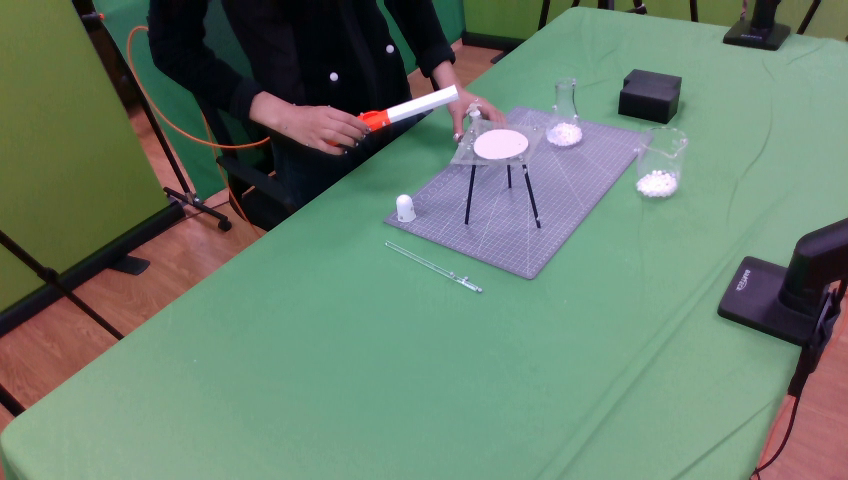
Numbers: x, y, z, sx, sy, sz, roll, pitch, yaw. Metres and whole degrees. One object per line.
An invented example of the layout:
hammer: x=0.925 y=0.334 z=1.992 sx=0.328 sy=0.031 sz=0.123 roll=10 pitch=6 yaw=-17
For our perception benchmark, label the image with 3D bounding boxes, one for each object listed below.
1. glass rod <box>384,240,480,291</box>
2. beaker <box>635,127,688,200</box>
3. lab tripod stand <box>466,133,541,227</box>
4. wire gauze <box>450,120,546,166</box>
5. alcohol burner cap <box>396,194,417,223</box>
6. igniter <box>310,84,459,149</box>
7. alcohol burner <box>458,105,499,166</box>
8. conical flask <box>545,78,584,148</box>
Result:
glass rod: x=0.009 y=0.037 z=0.949 sx=0.198 sy=0.008 sz=0.008 roll=26 pitch=52 yaw=34
beaker: x=0.388 y=-0.122 z=0.994 sx=0.074 sy=0.101 sz=0.083 roll=-8 pitch=40 yaw=2
lab tripod stand: x=0.129 y=-0.099 z=0.985 sx=0.148 sy=0.132 sz=0.147 roll=-7 pitch=38 yaw=6
wire gauze: x=0.117 y=-0.151 z=0.943 sx=0.121 sy=0.011 sz=0.125 roll=9 pitch=43 yaw=21
alcohol burner cap: x=-0.032 y=-0.056 z=1.036 sx=0.034 sy=0.048 sz=0.033 roll=-7 pitch=41 yaw=6
igniter: x=-0.073 y=-0.215 z=1.066 sx=0.276 sy=0.025 sz=0.057 roll=-18 pitch=43 yaw=6
alcohol burner: x=0.099 y=-0.199 z=1.125 sx=0.078 sy=0.120 sz=0.077 roll=-6 pitch=42 yaw=6
conical flask: x=0.264 y=-0.241 z=1.135 sx=0.075 sy=0.122 sz=0.075 roll=-6 pitch=40 yaw=5
